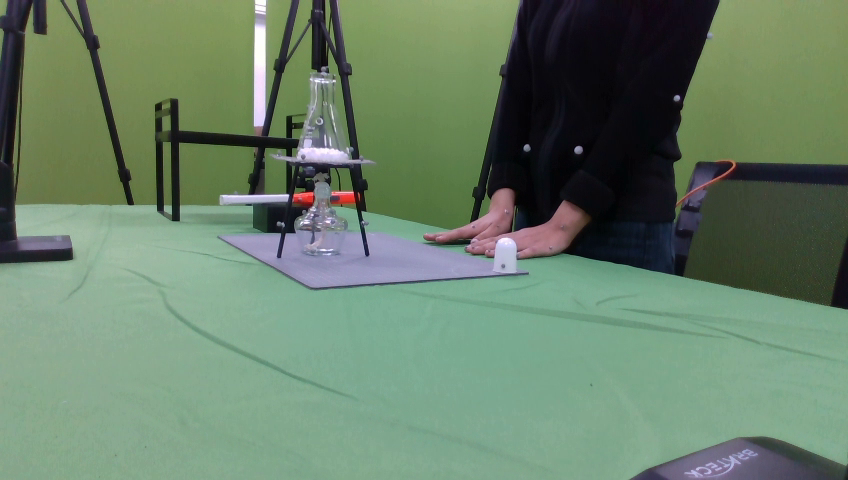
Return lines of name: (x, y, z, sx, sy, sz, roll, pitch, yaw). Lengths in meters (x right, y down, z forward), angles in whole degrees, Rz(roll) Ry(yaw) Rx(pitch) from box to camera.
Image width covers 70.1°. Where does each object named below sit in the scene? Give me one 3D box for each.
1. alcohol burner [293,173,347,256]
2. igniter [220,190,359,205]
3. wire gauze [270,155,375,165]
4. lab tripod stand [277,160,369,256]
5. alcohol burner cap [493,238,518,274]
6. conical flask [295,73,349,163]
alcohol burner: (-0.148, -0.037, 0.868, 0.078, 0.119, 0.078, 4, 8, 0)
igniter: (-0.246, -0.081, 1.158, 0.278, 0.025, 0.057, -5, 7, -33)
wire gauze: (-0.146, -0.112, 0.860, 0.122, 0.011, 0.124, 0, 6, -29)
lab tripod stand: (-0.149, -0.046, 0.861, 0.148, 0.131, 0.148, 3, 9, 0)
alcohol burner cap: (0.107, 0.021, 0.785, 0.034, 0.048, 0.034, 0, 8, 0)
conical flask: (-0.143, -0.170, 0.851, 0.075, 0.122, 0.075, 2, 9, 0)
